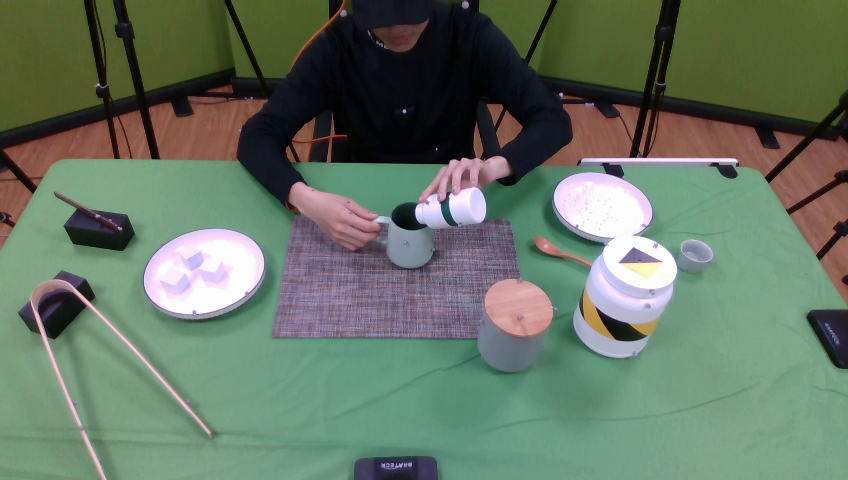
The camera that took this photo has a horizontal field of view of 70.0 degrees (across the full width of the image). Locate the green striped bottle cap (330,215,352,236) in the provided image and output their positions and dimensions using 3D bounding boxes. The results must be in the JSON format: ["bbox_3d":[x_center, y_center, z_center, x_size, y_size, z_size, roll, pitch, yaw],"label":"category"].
[{"bbox_3d":[-0.167,-0.029,1.214,0.044,0.020,0.044,1,51,-1],"label":"green striped bottle cap"}]

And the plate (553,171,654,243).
[{"bbox_3d":[0.373,-0.066,1.275,0.209,0.038,0.208,2,46,-2],"label":"plate"}]

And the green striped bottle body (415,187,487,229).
[{"bbox_3d":[0.044,-0.054,1.058,0.119,0.063,0.063,-7,37,34],"label":"green striped bottle body"}]

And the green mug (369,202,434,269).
[{"bbox_3d":[-0.042,-0.010,1.140,0.125,0.105,0.092,7,46,3],"label":"green mug"}]

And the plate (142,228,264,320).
[{"bbox_3d":[-0.394,0.064,1.095,0.208,0.039,0.206,2,46,-2],"label":"plate"}]

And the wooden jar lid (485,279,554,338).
[{"bbox_3d":[0.147,0.108,0.940,0.108,0.021,0.107,4,47,-4],"label":"wooden jar lid"}]

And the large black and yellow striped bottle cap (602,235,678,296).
[{"bbox_3d":[0.340,0.037,0.955,0.115,0.019,0.114,2,47,-1],"label":"large black and yellow striped bottle cap"}]

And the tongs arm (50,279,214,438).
[{"bbox_3d":[-0.459,0.178,0.949,0.386,0.028,0.028,37,60,17],"label":"tongs arm"}]

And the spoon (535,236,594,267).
[{"bbox_3d":[0.303,0.040,1.178,0.193,0.022,0.041,25,30,19],"label":"spoon"}]

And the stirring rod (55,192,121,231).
[{"bbox_3d":[-0.632,-0.055,1.138,0.175,0.014,0.006,24,50,19],"label":"stirring rod"}]

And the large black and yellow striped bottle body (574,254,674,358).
[{"bbox_3d":[0.335,0.096,1.014,0.131,0.185,0.130,2,46,-2],"label":"large black and yellow striped bottle body"}]

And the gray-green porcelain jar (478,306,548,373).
[{"bbox_3d":[0.144,0.148,0.989,0.106,0.127,0.105,2,50,-2],"label":"gray-green porcelain jar"}]

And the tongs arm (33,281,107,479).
[{"bbox_3d":[-0.517,0.214,0.910,0.051,0.026,0.383,-28,63,-27],"label":"tongs arm"}]

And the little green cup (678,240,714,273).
[{"bbox_3d":[0.530,0.033,1.190,0.061,0.039,0.061,2,46,-1],"label":"little green cup"}]
